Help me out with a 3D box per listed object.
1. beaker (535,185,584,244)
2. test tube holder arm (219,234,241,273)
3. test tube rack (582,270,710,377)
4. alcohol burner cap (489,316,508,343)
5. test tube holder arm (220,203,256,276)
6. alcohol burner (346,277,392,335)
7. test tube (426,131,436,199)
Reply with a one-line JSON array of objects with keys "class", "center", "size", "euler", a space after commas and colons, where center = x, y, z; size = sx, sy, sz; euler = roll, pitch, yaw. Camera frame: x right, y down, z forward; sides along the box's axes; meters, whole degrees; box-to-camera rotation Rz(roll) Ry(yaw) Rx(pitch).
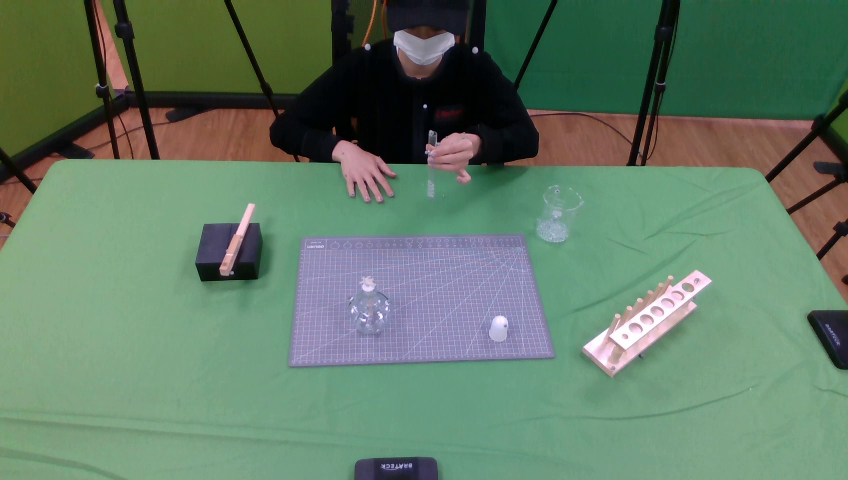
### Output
[{"class": "beaker", "center": [0.268, -0.048, 1.213], "size": [0.084, 0.101, 0.073], "euler": [6, 46, 0]}, {"class": "test tube holder arm", "center": [-0.344, 0.023, 1.076], "size": [0.015, 0.010, 0.087], "euler": [5, 45, 1]}, {"class": "test tube rack", "center": [0.389, 0.132, 1.057], "size": [0.242, 0.085, 0.066], "euler": [-28, 53, -28]}, {"class": "alcohol burner cap", "center": [0.130, 0.151, 1.045], "size": [0.034, 0.048, 0.033], "euler": [2, 46, -2]}, {"class": "test tube holder arm", "center": [-0.340, -0.004, 1.112], "size": [0.015, 0.013, 0.177], "euler": [5, 45, 1]}, {"class": "alcohol burner", "center": [-0.093, 0.106, 1.021], "size": [0.078, 0.120, 0.077], "euler": [1, 46, -1]}, {"class": "test tube", "center": [0.013, -0.137, 1.138], "size": [0.017, 0.151, 0.017], "euler": [1, 43, 0]}]
